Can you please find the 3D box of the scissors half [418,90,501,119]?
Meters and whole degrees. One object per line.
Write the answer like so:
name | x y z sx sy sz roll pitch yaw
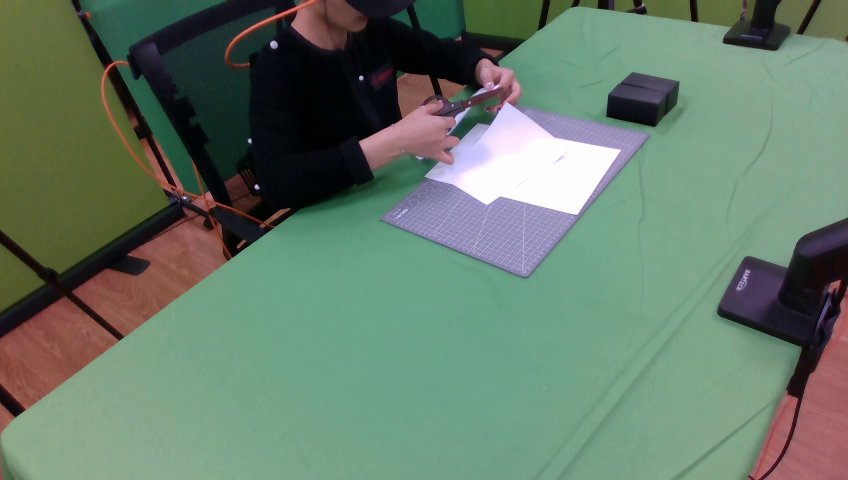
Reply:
scissors half | 0.070 -0.264 1.131 0.176 0.040 0.012 -17 20 -12

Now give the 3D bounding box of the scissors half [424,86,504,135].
scissors half | 0.078 -0.246 1.137 0.175 0.040 0.012 -33 18 -7
